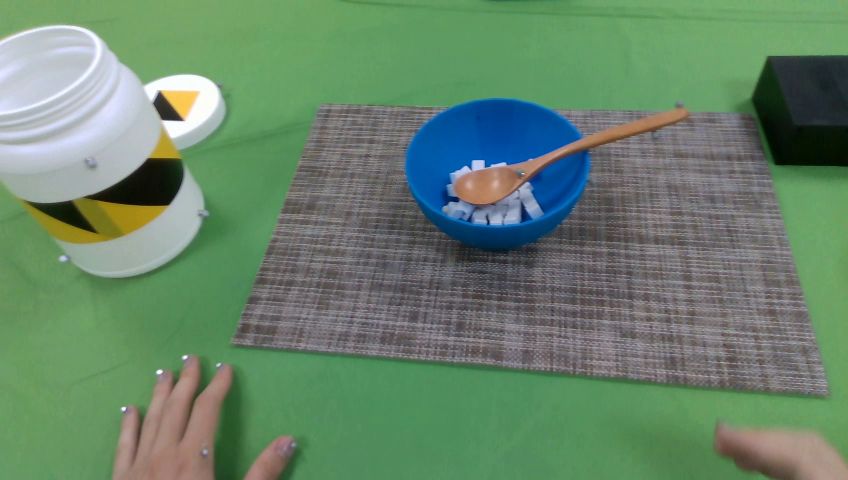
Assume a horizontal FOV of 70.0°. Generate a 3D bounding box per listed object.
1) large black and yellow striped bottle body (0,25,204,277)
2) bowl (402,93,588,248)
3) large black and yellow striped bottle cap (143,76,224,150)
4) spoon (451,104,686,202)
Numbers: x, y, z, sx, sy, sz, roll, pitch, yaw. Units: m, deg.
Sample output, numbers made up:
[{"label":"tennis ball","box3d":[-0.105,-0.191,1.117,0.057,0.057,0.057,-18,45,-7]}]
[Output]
[{"label":"large black and yellow striped bottle body","box3d":[-0.281,-0.070,0.511,0.131,0.186,0.129,-3,52,4]},{"label":"bowl","box3d":[0.059,-0.047,0.519,0.151,0.077,0.150,-3,53,4]},{"label":"large black and yellow striped bottle cap","box3d":[-0.283,-0.143,0.675,0.115,0.019,0.114,-2,52,3]},{"label":"spoon","box3d":[0.114,-0.072,0.489,0.193,0.022,0.041,-21,48,14]}]
